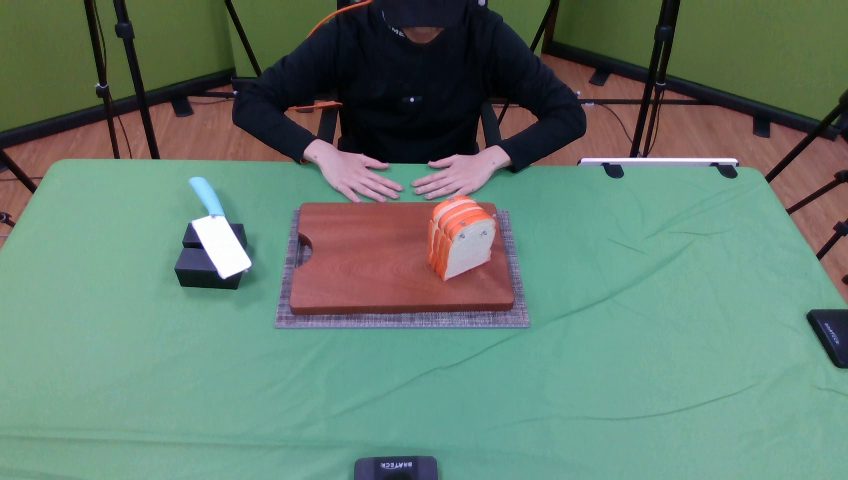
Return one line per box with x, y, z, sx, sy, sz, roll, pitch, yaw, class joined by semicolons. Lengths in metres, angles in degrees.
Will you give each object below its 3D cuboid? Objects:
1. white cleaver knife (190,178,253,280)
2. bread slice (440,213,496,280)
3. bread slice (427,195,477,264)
-0.397;-0.030;1.137;0.066;0.021;0.284;-21;49;-23;white cleaver knife
0.078;0.008;1.077;0.107;0.135;0.018;-24;55;-21;bread slice
0.052;-0.024;1.107;0.105;0.132;0.019;-22;46;-25;bread slice
